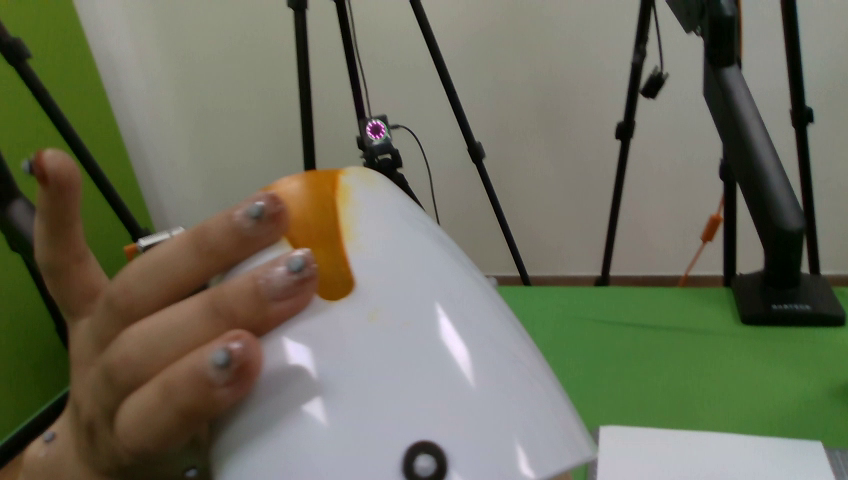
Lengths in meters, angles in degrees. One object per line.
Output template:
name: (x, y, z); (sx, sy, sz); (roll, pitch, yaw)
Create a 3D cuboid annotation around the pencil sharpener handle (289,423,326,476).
pencil sharpener handle: (-0.115, 0.205, 0.610); (0.036, 0.068, 0.030); (-8, 23, -8)

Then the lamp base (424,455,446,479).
lamp base: (0.026, 0.247, 0.396); (0.161, 0.181, 0.177); (-16, 22, -9)

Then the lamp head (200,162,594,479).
lamp head: (-0.021, 0.038, 0.203); (0.112, 0.113, 0.121); (-17, 62, -15)

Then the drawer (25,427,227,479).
drawer: (-0.300, 0.286, 0.567); (0.195, 0.074, 0.210); (-13, 23, -6)

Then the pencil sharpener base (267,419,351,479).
pencil sharpener base: (-0.102, 0.234, 0.569); (0.061, 0.108, 0.076); (-13, 24, -6)

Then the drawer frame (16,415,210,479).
drawer frame: (-0.303, 0.283, 0.569); (0.202, 0.083, 0.211); (-14, 23, -6)
